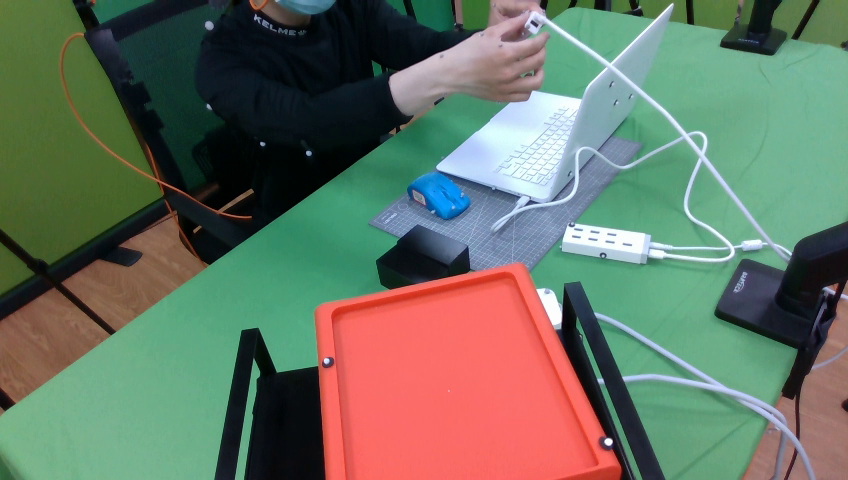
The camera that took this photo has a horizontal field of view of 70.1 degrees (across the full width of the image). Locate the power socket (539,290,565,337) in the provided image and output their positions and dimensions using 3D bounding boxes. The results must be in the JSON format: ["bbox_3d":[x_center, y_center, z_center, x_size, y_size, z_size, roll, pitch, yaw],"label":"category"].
[{"bbox_3d":[0.081,0.112,0.822,0.227,0.033,0.072,-6,41,0],"label":"power socket"}]

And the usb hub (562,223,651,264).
[{"bbox_3d":[0.279,0.004,0.926,0.124,0.025,0.049,10,43,19],"label":"usb hub"}]

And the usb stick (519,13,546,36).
[{"bbox_3d":[0.152,-0.307,0.861,0.021,0.027,0.059,30,13,-14],"label":"usb stick"}]

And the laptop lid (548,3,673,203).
[{"bbox_3d":[0.320,-0.235,1.026,0.013,0.242,0.357,31,50,20],"label":"laptop lid"}]

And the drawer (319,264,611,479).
[{"bbox_3d":[0.020,0.129,0.497,0.195,0.073,0.210,-11,41,-5],"label":"drawer"}]

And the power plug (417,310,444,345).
[{"bbox_3d":[0.007,0.123,0.785,0.035,0.053,0.072,0,39,7],"label":"power plug"}]

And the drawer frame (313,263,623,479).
[{"bbox_3d":[0.021,0.130,0.493,0.202,0.083,0.212,-11,41,-6],"label":"drawer frame"}]

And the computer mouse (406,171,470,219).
[{"bbox_3d":[0.024,-0.082,1.049,0.063,0.041,0.116,-30,50,-27],"label":"computer mouse"}]

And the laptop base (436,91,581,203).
[{"bbox_3d":[0.215,-0.192,1.172,0.233,0.023,0.355,19,46,32],"label":"laptop base"}]
